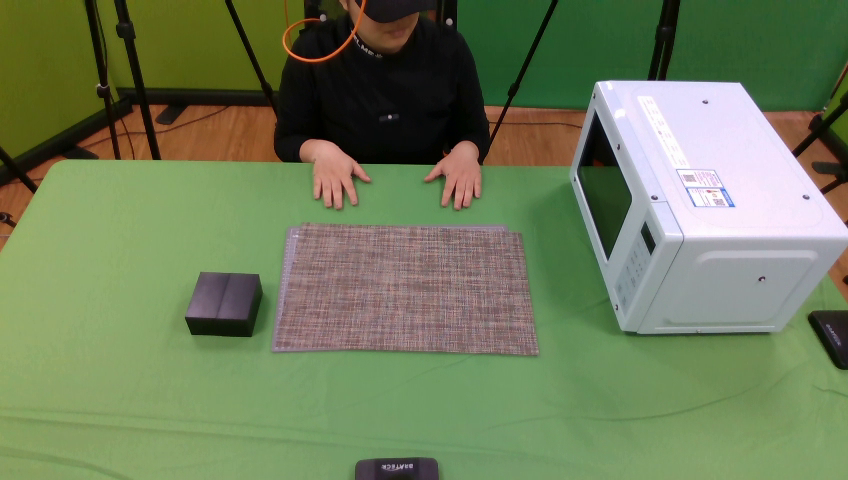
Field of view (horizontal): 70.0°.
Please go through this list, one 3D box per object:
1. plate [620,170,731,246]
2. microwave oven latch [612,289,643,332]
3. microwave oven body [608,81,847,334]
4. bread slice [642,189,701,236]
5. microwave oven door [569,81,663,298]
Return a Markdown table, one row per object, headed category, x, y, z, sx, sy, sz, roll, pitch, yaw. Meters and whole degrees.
| category | x | y | z | sx | sy | sz | roll | pitch | yaw |
| --- | --- | --- | --- | --- | --- | --- | --- | --- | --- |
| plate | 0.490 | -0.060 | 1.194 | 0.209 | 0.038 | 0.208 | 3 | 45 | -2 |
| microwave oven latch | 0.357 | 0.124 | 1.068 | 0.030 | 0.029 | 0.078 | 0 | 45 | -3 |
| microwave oven body | 0.501 | -0.070 | 1.132 | 0.326 | 0.261 | 0.438 | -1 | 45 | -4 |
| bread slice | 0.494 | -0.056 | 1.197 | 0.105 | 0.019 | 0.131 | 6 | 42 | 4 |
| microwave oven door | 0.353 | -0.104 | 1.147 | 0.039 | 0.245 | 0.353 | 0 | 46 | -4 |
